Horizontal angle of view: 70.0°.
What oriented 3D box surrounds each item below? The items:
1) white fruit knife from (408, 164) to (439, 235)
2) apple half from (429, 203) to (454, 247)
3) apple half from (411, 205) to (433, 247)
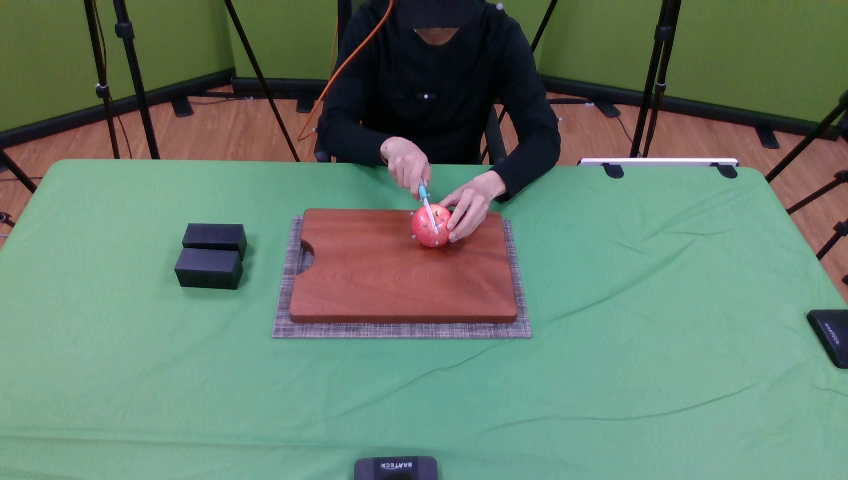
[{"bbox_3d":[0.000,-0.080,1.141,0.016,0.027,0.206,-6,45,-15],"label":"white fruit knife"},{"bbox_3d":[0.030,-0.028,1.148,0.053,0.075,0.080,-6,46,-14],"label":"apple half"},{"bbox_3d":[-0.007,-0.022,1.139,0.033,0.081,0.080,-7,47,-12],"label":"apple half"}]
